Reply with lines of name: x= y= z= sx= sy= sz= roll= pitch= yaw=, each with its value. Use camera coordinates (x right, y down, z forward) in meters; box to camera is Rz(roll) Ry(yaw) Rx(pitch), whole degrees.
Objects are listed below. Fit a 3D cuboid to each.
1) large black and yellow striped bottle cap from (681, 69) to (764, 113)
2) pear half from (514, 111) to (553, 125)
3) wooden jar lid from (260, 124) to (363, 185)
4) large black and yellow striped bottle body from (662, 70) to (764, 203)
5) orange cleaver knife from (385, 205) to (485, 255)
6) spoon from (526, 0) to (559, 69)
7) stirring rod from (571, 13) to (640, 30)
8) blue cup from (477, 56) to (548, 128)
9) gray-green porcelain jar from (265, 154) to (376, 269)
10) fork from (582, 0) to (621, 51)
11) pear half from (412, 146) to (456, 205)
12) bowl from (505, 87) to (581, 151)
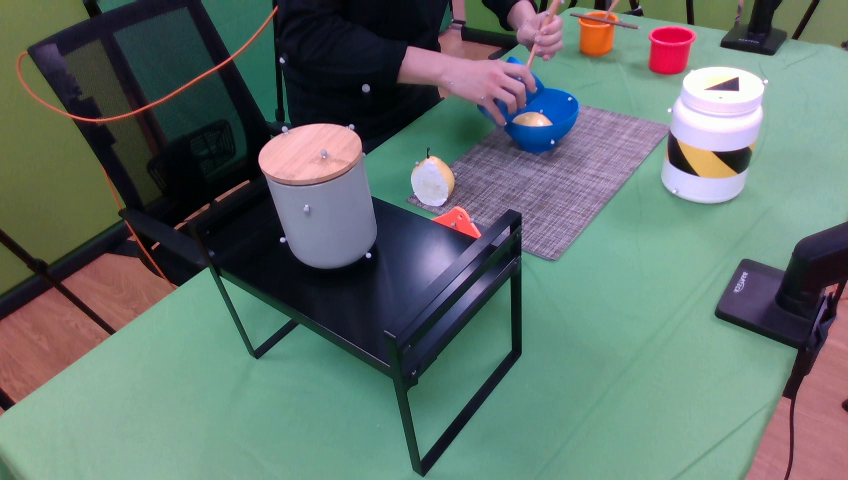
large black and yellow striped bottle cap: x=0.453 y=-0.229 z=0.921 sx=0.115 sy=0.019 sz=0.114 roll=-4 pitch=39 yaw=4
pear half: x=0.214 y=-0.226 z=1.149 sx=0.087 sy=0.031 sz=0.070 roll=12 pitch=49 yaw=14
wooden jar lid: x=-0.119 y=-0.088 z=0.645 sx=0.108 sy=0.021 sz=0.108 roll=-4 pitch=40 yaw=4
large black and yellow striped bottle body: x=0.464 y=-0.166 z=0.976 sx=0.131 sy=0.185 sz=0.130 roll=-5 pitch=41 yaw=5
orange cleaver knife: x=0.012 y=-0.010 z=0.942 sx=0.012 sy=0.077 sz=0.210 roll=-36 pitch=19 yaw=-35
spoon: x=0.189 y=-0.322 z=1.050 sx=0.041 sy=0.193 sz=0.021 roll=22 pitch=14 yaw=1
stirring rod: x=0.419 y=-0.508 z=1.404 sx=0.174 sy=0.006 sz=0.014 roll=28 pitch=55 yaw=35
blue cup: x=0.148 y=-0.254 z=1.061 sx=0.100 sy=0.093 sz=0.092 roll=-48 pitch=45 yaw=7
gray-green porcelain jar: x=-0.112 y=-0.039 z=0.685 sx=0.106 sy=0.127 sz=0.105 roll=-4 pitch=40 yaw=4
fork: x=0.446 y=-0.539 z=1.438 sx=0.207 sy=0.019 sz=0.028 roll=-57 pitch=36 yaw=12
pear half: x=0.019 y=-0.120 z=1.042 sx=0.076 sy=0.110 sz=0.056 roll=11 pitch=43 yaw=16
bowl: x=0.220 y=-0.223 z=1.156 sx=0.151 sy=0.077 sz=0.150 roll=-4 pitch=40 yaw=4
